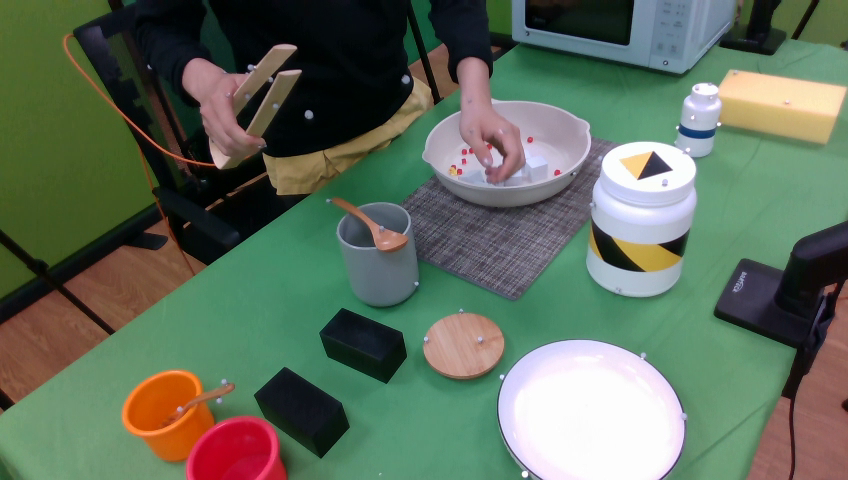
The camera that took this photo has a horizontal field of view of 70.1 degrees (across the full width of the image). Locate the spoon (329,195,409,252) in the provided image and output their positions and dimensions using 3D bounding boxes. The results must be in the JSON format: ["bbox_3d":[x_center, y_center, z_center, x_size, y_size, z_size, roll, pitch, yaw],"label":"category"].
[{"bbox_3d":[-0.082,-0.029,0.828,0.042,0.022,0.192,-32,43,-20],"label":"spoon"}]

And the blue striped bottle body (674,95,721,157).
[{"bbox_3d":[0.486,-0.213,1.072,0.063,0.121,0.063,-4,41,4],"label":"blue striped bottle body"}]

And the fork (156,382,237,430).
[{"bbox_3d":[-0.262,0.189,0.690,0.206,0.018,0.028,-34,9,42],"label":"fork"}]

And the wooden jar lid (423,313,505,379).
[{"bbox_3d":[0.053,0.142,0.800,0.108,0.021,0.108,-5,39,4],"label":"wooden jar lid"}]

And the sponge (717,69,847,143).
[{"bbox_3d":[0.663,-0.256,1.142,0.205,0.061,0.118,19,47,28],"label":"sponge"}]

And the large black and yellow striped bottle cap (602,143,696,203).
[{"bbox_3d":[0.289,-0.088,0.779,0.115,0.019,0.114,-5,39,4],"label":"large black and yellow striped bottle cap"}]

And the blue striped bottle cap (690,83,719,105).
[{"bbox_3d":[0.482,-0.251,1.038,0.044,0.021,0.044,-5,40,5],"label":"blue striped bottle cap"}]

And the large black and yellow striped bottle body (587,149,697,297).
[{"bbox_3d":[0.298,-0.026,0.835,0.131,0.185,0.130,-4,41,4],"label":"large black and yellow striped bottle body"}]

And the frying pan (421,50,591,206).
[{"bbox_3d":[0.127,-0.233,1.155,0.307,0.103,0.484,-11,49,-5],"label":"frying pan"}]

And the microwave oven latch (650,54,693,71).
[{"bbox_3d":[0.531,-0.386,1.301,0.078,0.029,0.030,26,51,33],"label":"microwave oven latch"}]

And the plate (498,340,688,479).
[{"bbox_3d":[0.189,0.206,0.692,0.207,0.039,0.206,-4,40,4],"label":"plate"}]

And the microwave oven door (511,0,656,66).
[{"bbox_3d":[0.350,-0.539,1.348,0.353,0.245,0.039,24,50,31],"label":"microwave oven door"}]

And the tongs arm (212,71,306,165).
[{"bbox_3d":[-0.222,-0.146,0.775,0.028,0.028,0.385,-22,4,-30],"label":"tongs arm"}]

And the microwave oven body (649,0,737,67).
[{"bbox_3d":[0.475,-0.602,1.411,0.438,0.261,0.327,23,50,32],"label":"microwave oven body"}]

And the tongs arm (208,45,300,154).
[{"bbox_3d":[-0.228,-0.165,0.774,0.027,0.051,0.382,-18,7,-30],"label":"tongs arm"}]

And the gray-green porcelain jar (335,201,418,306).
[{"bbox_3d":[-0.064,0.024,0.872,0.106,0.127,0.105,-4,41,4],"label":"gray-green porcelain jar"}]
